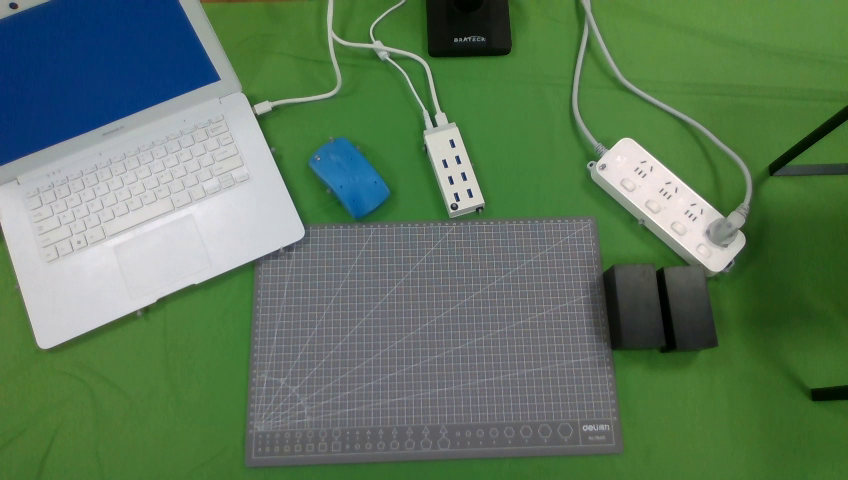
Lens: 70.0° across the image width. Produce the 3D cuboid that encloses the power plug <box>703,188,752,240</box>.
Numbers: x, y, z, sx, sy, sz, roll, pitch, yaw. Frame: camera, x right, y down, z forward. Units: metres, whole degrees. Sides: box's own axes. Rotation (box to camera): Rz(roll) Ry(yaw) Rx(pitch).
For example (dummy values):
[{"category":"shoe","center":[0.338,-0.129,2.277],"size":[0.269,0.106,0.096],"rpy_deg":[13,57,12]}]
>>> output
[{"category":"power plug","center":[0.390,-0.027,0.773],"size":[0.072,0.053,0.035],"rpy_deg":[-32,76,-11]}]

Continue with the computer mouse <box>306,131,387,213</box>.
[{"category":"computer mouse","center":[-0.104,-0.093,0.802],"size":[0.063,0.041,0.116],"rpy_deg":[-37,74,-9]}]

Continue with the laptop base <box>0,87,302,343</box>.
[{"category":"laptop base","center":[-0.362,-0.041,0.794],"size":[0.354,0.023,0.234],"rpy_deg":[-24,79,-7]}]

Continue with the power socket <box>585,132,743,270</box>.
[{"category":"power socket","center":[0.316,-0.052,0.798],"size":[0.072,0.033,0.226],"rpy_deg":[-43,79,-12]}]

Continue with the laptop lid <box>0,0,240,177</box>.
[{"category":"laptop lid","center":[-0.425,-0.203,0.720],"size":[0.357,0.244,0.013],"rpy_deg":[-25,61,-6]}]

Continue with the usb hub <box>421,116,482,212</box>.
[{"category":"usb hub","center":[0.035,-0.102,0.813],"size":[0.049,0.025,0.124],"rpy_deg":[-17,75,-5]}]

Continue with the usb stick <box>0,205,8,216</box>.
[{"category":"usb stick","center":[-0.568,-0.031,0.775],"size":[0.059,0.027,0.021],"rpy_deg":[-24,79,-12]}]
